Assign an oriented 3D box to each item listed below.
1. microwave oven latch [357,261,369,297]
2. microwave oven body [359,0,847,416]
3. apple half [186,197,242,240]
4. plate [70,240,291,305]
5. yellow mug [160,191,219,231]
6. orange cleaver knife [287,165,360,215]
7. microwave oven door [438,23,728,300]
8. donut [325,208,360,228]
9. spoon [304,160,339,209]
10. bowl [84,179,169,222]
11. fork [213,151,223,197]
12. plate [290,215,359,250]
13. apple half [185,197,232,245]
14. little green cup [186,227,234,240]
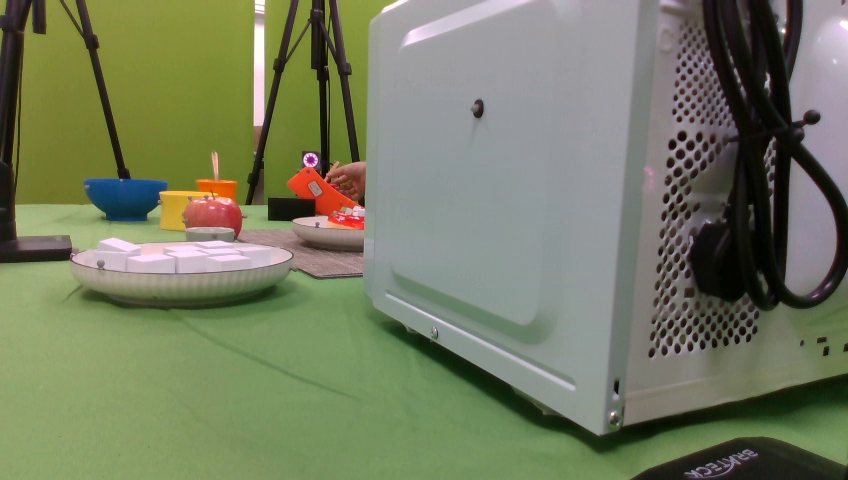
[{"bbox_3d":[-0.019,0.033,0.530,0.079,0.029,0.030,-1,7,-27],"label":"microwave oven latch"},{"bbox_3d":[0.211,-0.047,0.474,0.444,0.260,0.324,-1,7,-28],"label":"microwave oven body"},{"bbox_3d":[-0.306,-0.026,0.905,0.053,0.074,0.081,14,9,37],"label":"apple half"},{"bbox_3d":[-0.242,0.031,0.618,0.208,0.039,0.207,2,8,0],"label":"plate"},{"bbox_3d":[-0.416,-0.053,1.103,0.130,0.064,0.100,7,8,27],"label":"yellow mug"},{"bbox_3d":[-0.211,-0.092,1.382,0.212,0.077,0.012,33,2,-15],"label":"orange cleaver knife"},{"bbox_3d":[0.181,-0.072,0.621,0.358,0.243,0.039,-2,8,-29],"label":"microwave oven door"},{"bbox_3d":[-0.110,-0.025,0.974,0.099,0.048,0.099,5,8,0],"label":"donut"},{"bbox_3d":[-0.258,-0.146,1.567,0.041,0.022,0.193,4,52,22],"label":"spoon"},{"bbox_3d":[-0.584,-0.078,1.194,0.151,0.077,0.151,3,8,0],"label":"bowl"},{"bbox_3d":[-0.494,-0.143,1.442,0.028,0.018,0.206,-1,52,-21],"label":"fork"},{"bbox_3d":[-0.110,-0.013,0.973,0.209,0.038,0.209,3,8,0],"label":"plate"},{"bbox_3d":[-0.337,-0.031,0.928,0.032,0.081,0.082,13,13,37],"label":"apple half"},{"bbox_3d":[-0.285,0.005,0.805,0.061,0.038,0.061,2,8,0],"label":"little green cup"}]
